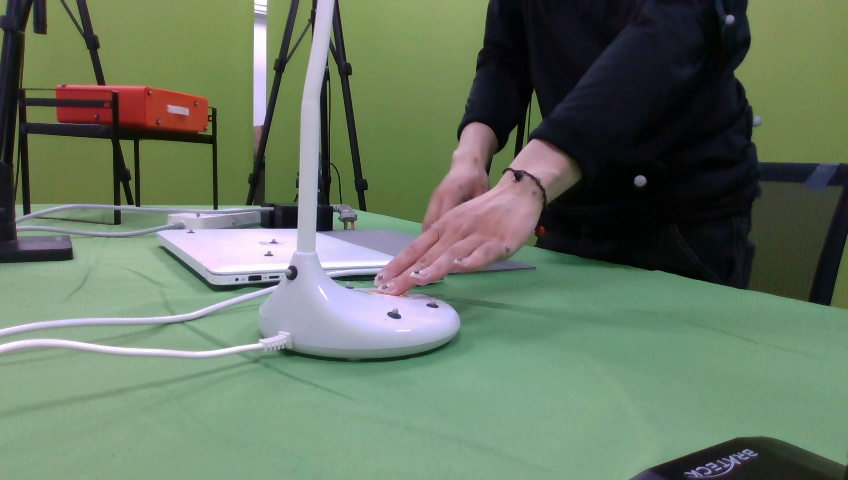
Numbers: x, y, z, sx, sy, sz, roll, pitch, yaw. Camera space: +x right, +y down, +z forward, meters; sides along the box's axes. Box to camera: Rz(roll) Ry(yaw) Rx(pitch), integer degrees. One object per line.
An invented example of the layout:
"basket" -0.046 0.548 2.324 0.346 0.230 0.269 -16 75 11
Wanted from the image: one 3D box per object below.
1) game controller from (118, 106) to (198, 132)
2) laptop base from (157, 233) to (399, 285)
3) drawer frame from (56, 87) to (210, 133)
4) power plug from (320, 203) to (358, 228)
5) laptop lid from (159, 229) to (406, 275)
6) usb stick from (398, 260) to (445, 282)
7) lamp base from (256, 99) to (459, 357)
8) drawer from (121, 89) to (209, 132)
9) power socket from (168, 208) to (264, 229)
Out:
"game controller" -0.554 -0.252 1.255 0.097 0.051 0.155 7 11 19
"laptop base" -0.204 0.019 0.806 0.237 0.023 0.352 0 7 -33
"drawer frame" -0.598 -0.269 1.261 0.213 0.082 0.202 4 8 14
"power plug" -0.170 -0.047 1.209 0.073 0.052 0.035 -5 -15 -6
"laptop lid" -0.201 0.007 0.806 0.243 0.013 0.355 -1 8 -31
"usb stick" -0.001 0.036 0.696 0.027 0.021 0.059 9 1 42
"lamp base" -0.055 -0.013 0.463 0.160 0.180 0.180 6 11 27
"drawer" -0.595 -0.268 1.263 0.211 0.073 0.195 3 8 15
"power socket" -0.381 -0.038 1.128 0.072 0.032 0.227 4 8 16
